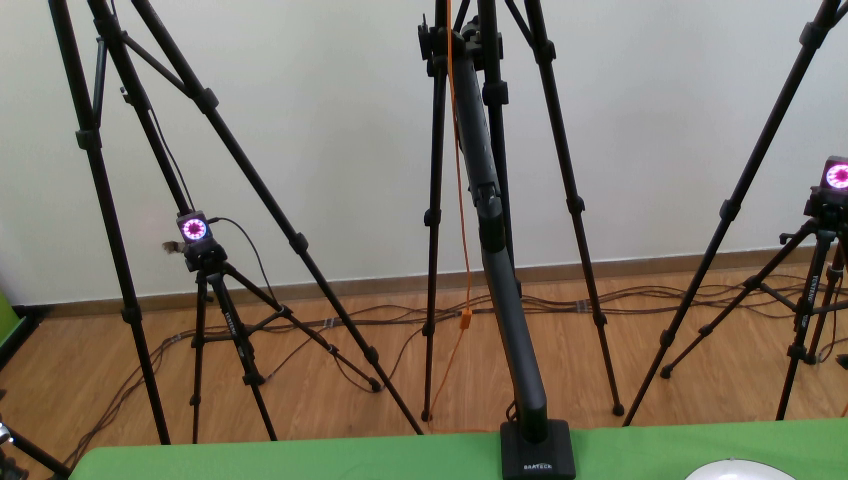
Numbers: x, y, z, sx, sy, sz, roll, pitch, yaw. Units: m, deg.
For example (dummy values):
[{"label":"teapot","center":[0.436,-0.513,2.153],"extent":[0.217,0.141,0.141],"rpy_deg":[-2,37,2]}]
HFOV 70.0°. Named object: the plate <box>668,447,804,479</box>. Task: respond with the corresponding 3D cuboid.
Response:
[{"label":"plate","center":[0.437,0.383,0.827],"extent":[0.207,0.039,0.205],"rpy_deg":[-6,37,5]}]
